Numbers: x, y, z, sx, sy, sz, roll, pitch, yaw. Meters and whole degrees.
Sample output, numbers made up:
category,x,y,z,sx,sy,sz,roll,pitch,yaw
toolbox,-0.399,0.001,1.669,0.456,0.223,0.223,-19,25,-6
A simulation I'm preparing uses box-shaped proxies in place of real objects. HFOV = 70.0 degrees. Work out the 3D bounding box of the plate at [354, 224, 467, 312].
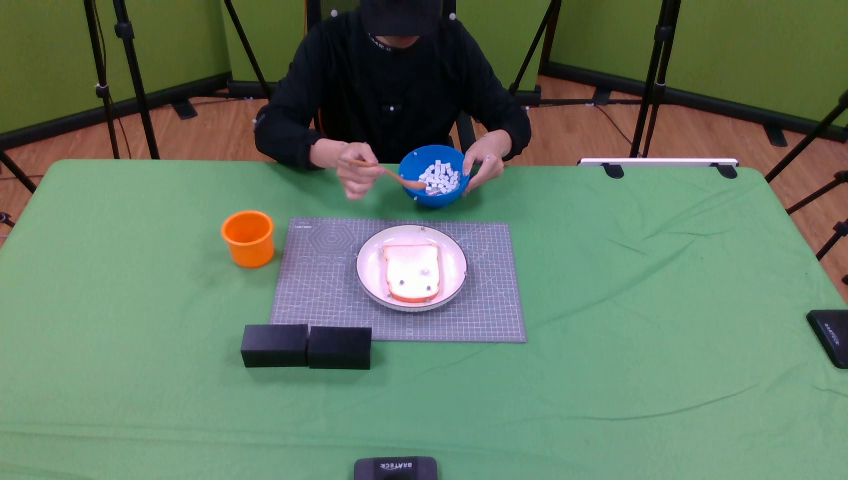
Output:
category,x,y,z,sx,sy,sz,roll,pitch,yaw
plate,-0.025,0.055,1.128,0.209,0.038,0.208,3,46,-2

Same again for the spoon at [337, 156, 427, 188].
category,x,y,z,sx,sy,sz,roll,pitch,yaw
spoon,-0.075,-0.126,1.111,0.195,0.021,0.041,19,11,-37

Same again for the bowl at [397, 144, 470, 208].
category,x,y,z,sx,sy,sz,roll,pitch,yaw
bowl,0.021,-0.121,1.268,0.151,0.077,0.150,-2,52,2

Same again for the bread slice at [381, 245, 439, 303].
category,x,y,z,sx,sy,sz,roll,pitch,yaw
bread slice,-0.022,0.061,1.126,0.107,0.018,0.133,-3,45,-8
